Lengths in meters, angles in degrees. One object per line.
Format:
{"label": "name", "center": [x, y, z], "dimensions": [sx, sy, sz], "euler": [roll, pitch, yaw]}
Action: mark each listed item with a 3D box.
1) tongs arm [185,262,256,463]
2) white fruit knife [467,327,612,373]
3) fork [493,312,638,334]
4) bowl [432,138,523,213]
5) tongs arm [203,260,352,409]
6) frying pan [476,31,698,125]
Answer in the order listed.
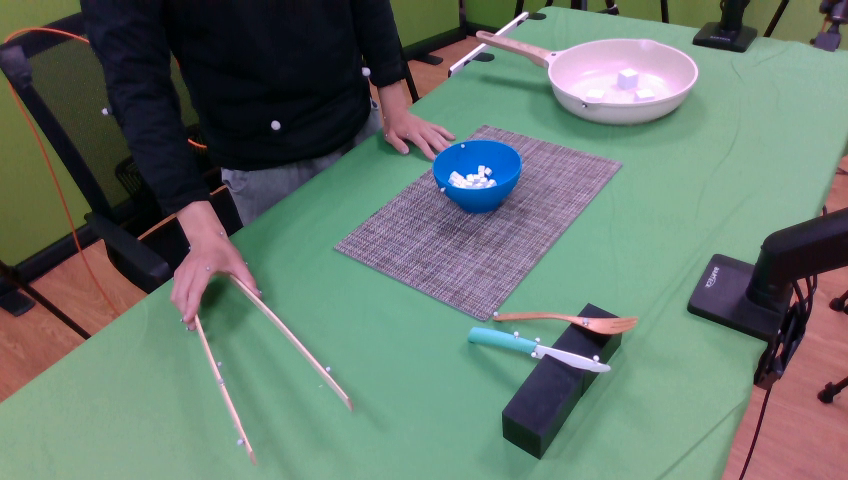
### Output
{"label": "tongs arm", "center": [-0.263, 0.139, 0.794], "dimensions": [0.051, 0.026, 0.381], "euler": [-26, 39, -21]}
{"label": "white fruit knife", "center": [0.134, 0.134, 0.742], "dimensions": [0.205, 0.027, 0.016], "euler": [7, 34, 41]}
{"label": "fork", "center": [0.173, 0.103, 0.774], "dimensions": [0.206, 0.019, 0.028], "euler": [0, 41, 40]}
{"label": "bowl", "center": [0.091, -0.100, 1.022], "dimensions": [0.151, 0.077, 0.150], "euler": [-4, 41, 4]}
{"label": "tongs arm", "center": [-0.209, 0.113, 0.820], "dimensions": [0.028, 0.028, 0.384], "euler": [-34, 43, -25]}
{"label": "frying pan", "center": [0.321, -0.371, 1.290], "dimensions": [0.484, 0.103, 0.307], "euler": [29, 51, 24]}
